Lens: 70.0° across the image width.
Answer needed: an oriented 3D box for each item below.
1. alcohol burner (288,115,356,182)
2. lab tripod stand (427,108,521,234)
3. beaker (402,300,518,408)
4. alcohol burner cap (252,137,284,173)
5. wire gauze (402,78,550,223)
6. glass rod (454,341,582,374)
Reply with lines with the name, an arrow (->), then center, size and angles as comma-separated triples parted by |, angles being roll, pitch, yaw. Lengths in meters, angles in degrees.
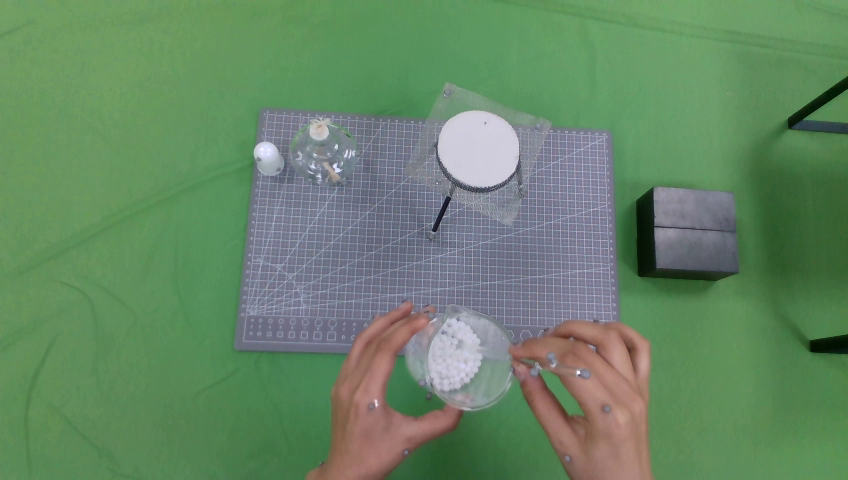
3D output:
alcohol burner -> -0.117, -0.111, 0.691 | 0.078, 0.119, 0.077 | 2, 75, -6
lab tripod stand -> 0.053, -0.081, 0.689 | 0.148, 0.132, 0.147 | 2, 74, -6
beaker -> 0.023, 0.092, 0.506 | 0.074, 0.100, 0.084 | -19, 87, -16
alcohol burner cap -> -0.186, -0.103, 0.719 | 0.034, 0.048, 0.033 | 1, 75, -2
wire gauze -> 0.055, -0.096, 0.623 | 0.125, 0.011, 0.121 | 24, 76, 1
glass rod -> 0.061, 0.085, 0.455 | 0.008, 0.199, 0.008 | 2, 85, -19
